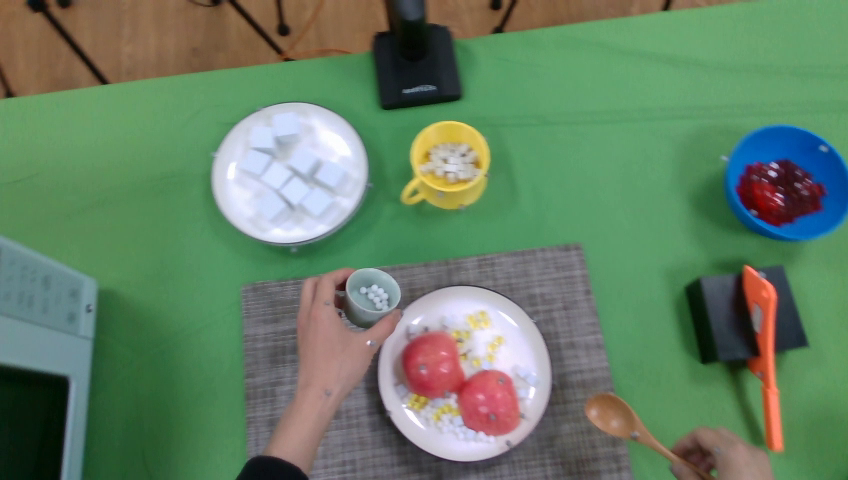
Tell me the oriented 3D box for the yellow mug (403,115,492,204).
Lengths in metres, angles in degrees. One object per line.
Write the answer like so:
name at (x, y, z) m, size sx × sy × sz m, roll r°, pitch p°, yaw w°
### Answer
yellow mug at (0.026, -0.096, 0.797) m, size 0.131 × 0.064 × 0.099 m, roll -37°, pitch 75°, yaw -9°

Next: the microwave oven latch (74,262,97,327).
microwave oven latch at (-0.429, 0.068, 0.755) m, size 0.030 × 0.029 × 0.078 m, roll -2°, pitch 74°, yaw 0°

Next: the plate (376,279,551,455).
plate at (0.047, 0.151, 0.733) m, size 0.209 × 0.038 × 0.208 m, roll 0°, pitch 74°, yaw 1°

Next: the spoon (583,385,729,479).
spoon at (0.247, 0.210, 0.611) m, size 0.192 × 0.022 × 0.041 m, roll 32°, pitch 100°, yaw 36°

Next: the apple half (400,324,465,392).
apple half at (0.008, 0.139, 0.721) m, size 0.074 × 0.053 × 0.080 m, roll -9°, pitch 73°, yaw 2°

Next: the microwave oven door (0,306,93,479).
microwave oven door at (-0.422, 0.247, 0.595) m, size 0.039 × 0.245 × 0.353 m, roll -4°, pitch 73°, yaw 1°

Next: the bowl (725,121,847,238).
bowl at (0.449, -0.066, 0.770) m, size 0.151 × 0.077 × 0.150 m, roll 0°, pitch 74°, yaw 2°

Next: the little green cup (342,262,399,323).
little green cup at (-0.061, 0.060, 0.669) m, size 0.062 × 0.039 × 0.061 m, roll 14°, pitch 45°, yaw -14°

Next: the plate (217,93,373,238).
plate at (-0.171, -0.098, 0.818) m, size 0.207 × 0.039 × 0.206 m, roll 0°, pitch 73°, yaw 2°

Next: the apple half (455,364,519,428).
apple half at (0.075, 0.184, 0.716) m, size 0.081 × 0.033 × 0.081 m, roll -1°, pitch 71°, yaw 2°

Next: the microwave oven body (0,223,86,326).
microwave oven body at (-0.570, 0.217, 0.613) m, size 0.326 × 0.261 × 0.439 m, roll -3°, pitch 74°, yaw 0°

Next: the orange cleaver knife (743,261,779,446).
orange cleaver knife at (0.393, 0.132, 0.710) m, size 0.012 × 0.077 × 0.211 m, roll -6°, pitch 97°, yaw 4°
